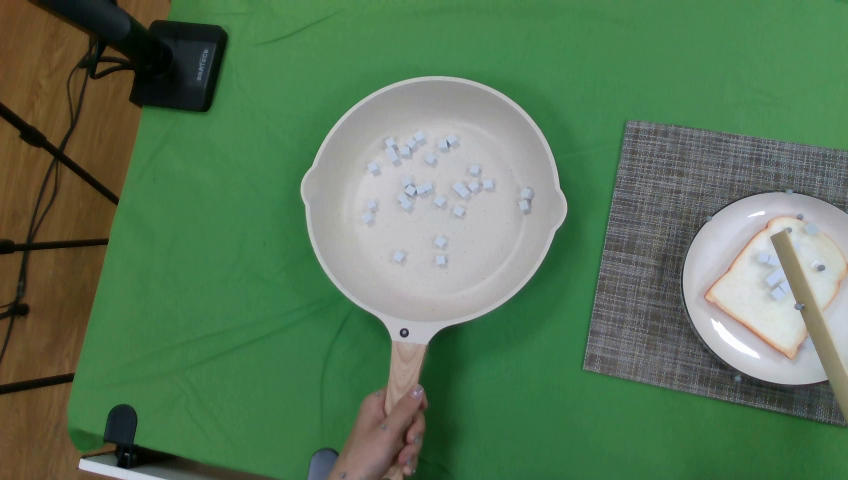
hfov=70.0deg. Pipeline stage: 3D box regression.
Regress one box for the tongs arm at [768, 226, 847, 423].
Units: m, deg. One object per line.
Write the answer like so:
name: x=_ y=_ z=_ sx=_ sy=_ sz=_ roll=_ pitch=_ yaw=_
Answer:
tongs arm: x=0.382 y=0.166 z=0.509 sx=0.028 sy=0.028 sz=0.385 roll=-17 pitch=76 yaw=-7

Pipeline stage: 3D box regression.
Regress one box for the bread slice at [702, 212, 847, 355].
bread slice: x=0.381 y=0.038 z=0.654 sx=0.106 sy=0.018 sz=0.134 roll=35 pitch=89 yaw=12

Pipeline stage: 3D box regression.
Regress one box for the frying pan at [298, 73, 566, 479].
frying pan: x=-0.008 y=0.052 z=0.681 sx=0.306 sy=0.103 sz=0.485 roll=7 pitch=73 yaw=11

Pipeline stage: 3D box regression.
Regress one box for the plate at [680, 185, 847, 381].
plate: x=0.382 y=0.046 z=0.651 sx=0.207 sy=0.039 sz=0.207 roll=-2 pitch=80 yaw=9
